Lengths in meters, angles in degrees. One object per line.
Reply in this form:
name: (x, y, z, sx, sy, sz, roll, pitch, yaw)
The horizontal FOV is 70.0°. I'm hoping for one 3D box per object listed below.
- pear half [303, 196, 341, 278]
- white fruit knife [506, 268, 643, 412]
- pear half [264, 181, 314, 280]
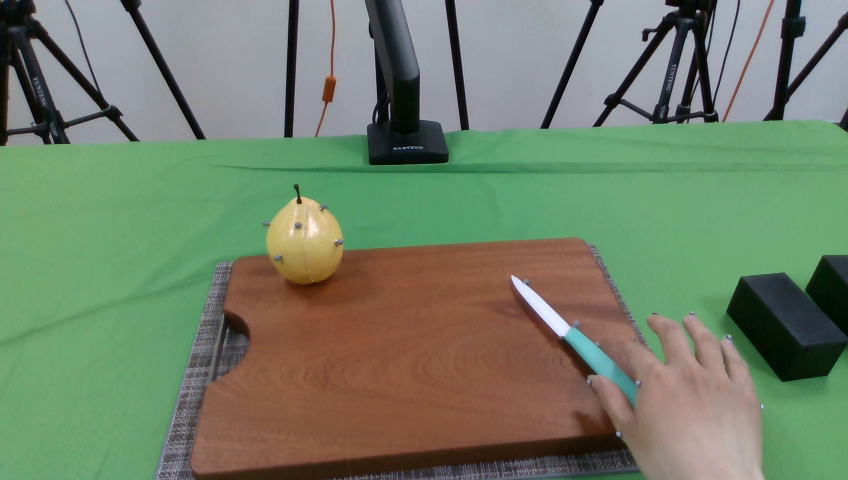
pear half: (-0.101, -0.003, 0.621, 0.031, 0.088, 0.070, 1, 30, 2)
white fruit knife: (0.136, 0.084, 0.574, 0.027, 0.016, 0.205, -3, 34, -30)
pear half: (-0.137, -0.014, 0.618, 0.056, 0.111, 0.075, 3, 34, 2)
